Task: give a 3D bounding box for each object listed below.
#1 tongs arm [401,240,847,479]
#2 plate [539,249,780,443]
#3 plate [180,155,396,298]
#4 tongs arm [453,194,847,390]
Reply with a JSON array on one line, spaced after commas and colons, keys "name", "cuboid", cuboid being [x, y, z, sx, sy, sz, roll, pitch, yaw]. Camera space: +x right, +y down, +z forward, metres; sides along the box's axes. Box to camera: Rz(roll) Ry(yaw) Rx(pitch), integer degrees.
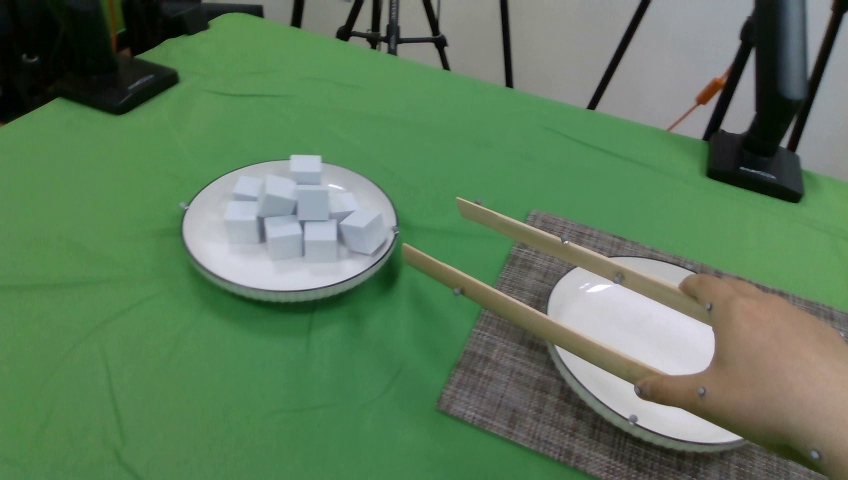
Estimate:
[{"name": "tongs arm", "cuboid": [0.129, 0.071, 0.425, 0.384, 0.028, 0.028, 23, 51, 34]}, {"name": "plate", "cuboid": [0.202, 0.091, 0.542, 0.208, 0.039, 0.205, 5, 42, -4]}, {"name": "plate", "cuboid": [-0.133, -0.013, 0.612, 0.209, 0.038, 0.207, 5, 41, -4]}, {"name": "tongs arm", "cuboid": [0.158, 0.045, 0.443, 0.381, 0.027, 0.050, 25, 55, 35]}]
